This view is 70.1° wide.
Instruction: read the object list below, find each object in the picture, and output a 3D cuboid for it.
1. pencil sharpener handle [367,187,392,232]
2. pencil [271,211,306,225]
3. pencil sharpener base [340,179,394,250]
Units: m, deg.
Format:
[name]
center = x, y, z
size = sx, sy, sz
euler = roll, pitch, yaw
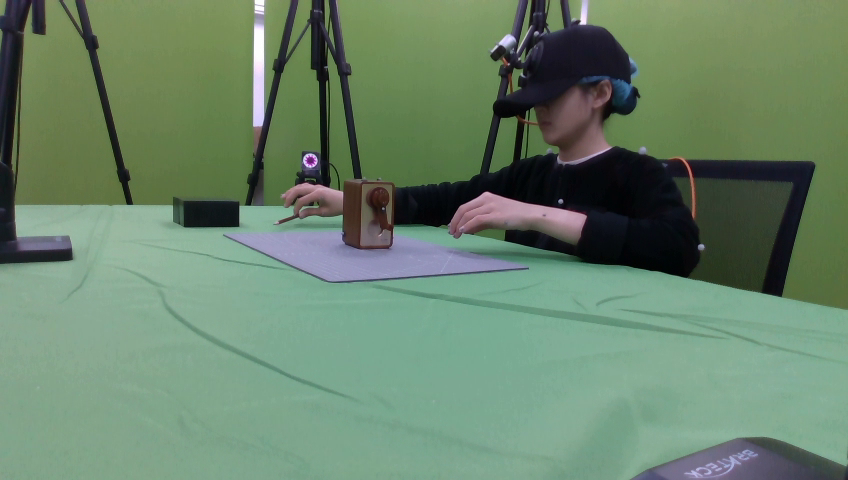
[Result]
[pencil sharpener handle]
center = -0.062, -0.046, 0.915
size = 0.036, 0.068, 0.030
euler = -13, 15, -28
[pencil]
center = -0.269, -0.044, 1.205
size = 0.012, 0.012, 0.194
euler = 4, 9, 7
[pencil sharpener base]
center = -0.091, -0.041, 0.959
size = 0.061, 0.107, 0.076
euler = -1, 9, -30
